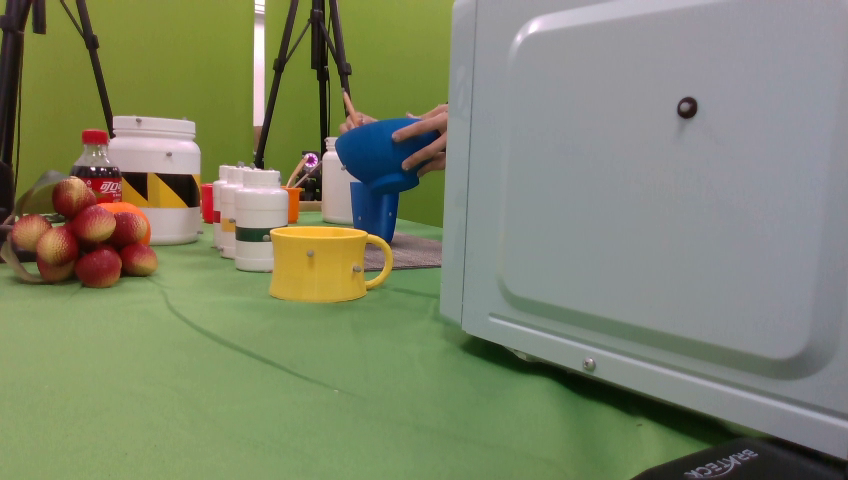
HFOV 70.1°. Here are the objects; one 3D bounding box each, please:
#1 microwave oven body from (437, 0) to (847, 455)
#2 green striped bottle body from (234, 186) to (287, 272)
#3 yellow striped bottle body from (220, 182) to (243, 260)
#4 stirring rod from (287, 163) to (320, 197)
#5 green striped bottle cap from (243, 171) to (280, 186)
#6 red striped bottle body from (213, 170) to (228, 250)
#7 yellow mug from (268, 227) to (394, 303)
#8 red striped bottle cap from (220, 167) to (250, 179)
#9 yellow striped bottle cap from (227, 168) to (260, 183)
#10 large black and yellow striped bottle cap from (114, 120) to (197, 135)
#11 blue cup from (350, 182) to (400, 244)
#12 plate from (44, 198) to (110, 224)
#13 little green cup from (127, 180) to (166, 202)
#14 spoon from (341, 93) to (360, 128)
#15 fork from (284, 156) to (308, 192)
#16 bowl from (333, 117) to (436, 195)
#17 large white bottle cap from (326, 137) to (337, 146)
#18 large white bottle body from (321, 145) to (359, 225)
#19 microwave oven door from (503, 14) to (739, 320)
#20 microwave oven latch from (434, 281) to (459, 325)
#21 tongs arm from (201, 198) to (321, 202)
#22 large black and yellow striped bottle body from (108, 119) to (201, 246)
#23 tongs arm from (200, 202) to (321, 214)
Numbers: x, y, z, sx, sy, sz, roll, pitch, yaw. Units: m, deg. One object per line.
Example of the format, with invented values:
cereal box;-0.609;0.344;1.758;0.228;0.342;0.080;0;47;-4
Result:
microwave oven body;0.279;-0.040;0.465;0.444;0.260;0.324;-3;9;-41
green striped bottle body;-0.201;-0.023;0.743;0.063;0.119;0.063;2;7;0
yellow striped bottle body;-0.245;-0.036;0.825;0.063;0.120;0.063;3;8;0
stirring rod;-0.283;-0.107;1.298;0.014;0.006;0.176;10;53;50
green striped bottle cap;-0.198;-0.074;0.736;0.044;0.020;0.044;1;7;0
red striped bottle body;-0.283;-0.047;0.910;0.063;0.119;0.063;2;13;0
yellow mug;-0.094;0.023;0.629;0.131;0.064;0.099;0;7;-21
red striped bottle cap;-0.281;-0.100;0.901;0.044;0.017;0.044;-1;5;0
yellow striped bottle cap;-0.243;-0.087;0.818;0.044;0.018;0.044;3;6;0
large black and yellow striped bottle cap;-0.407;-0.171;0.920;0.115;0.019;0.115;2;9;0
blue cup;-0.083;-0.046;1.014;0.093;0.100;0.092;2;7;0
plate;-0.617;-0.056;1.179;0.209;0.038;0.209;3;7;0
little green cup;-0.485;-0.086;1.061;0.061;0.038;0.061;1;7;0
spoon;-0.105;-0.167;0.939;0.021;0.193;0.042;-26;-38;15
fork;-0.295;-0.116;1.323;0.028;0.019;0.207;0;50;21
bowl;-0.050;-0.113;0.876;0.151;0.076;0.151;-11;-8;-1
large white bottle cap;-0.158;-0.214;1.329;0.115;0.018;0.115;2;7;0
large white bottle body;-0.162;-0.131;1.341;0.131;0.184;0.130;2;8;0
microwave oven door;0.218;-0.065;0.600;0.358;0.243;0.039;-4;10;-41
microwave oven latch;0.044;0.045;0.470;0.079;0.029;0.030;-2;8;-39
tongs arm;-0.433;-0.090;1.508;0.390;0.028;0.028;-1;2;-29
large black and yellow striped bottle body;-0.412;-0.088;0.930;0.131;0.184;0.130;3;7;0
tongs arm;-0.378;-0.079;1.440;0.387;0.026;0.050;-4;8;-44
